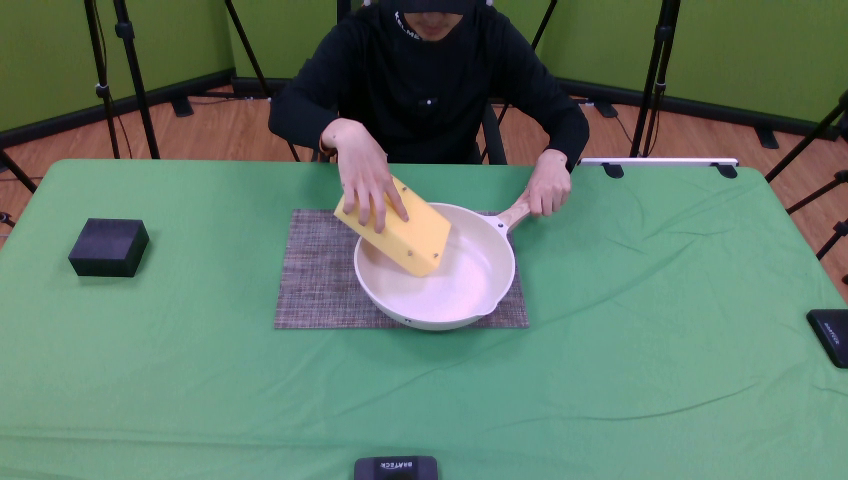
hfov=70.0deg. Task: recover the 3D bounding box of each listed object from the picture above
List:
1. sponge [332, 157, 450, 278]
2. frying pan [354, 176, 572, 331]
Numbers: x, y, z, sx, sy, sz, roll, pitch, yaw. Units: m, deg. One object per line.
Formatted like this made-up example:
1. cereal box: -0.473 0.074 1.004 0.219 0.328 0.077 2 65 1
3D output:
1. sponge: -0.055 -0.038 1.111 0.208 0.061 0.117 39 44 -23
2. frying pan: 0.102 -0.001 1.142 0.488 0.103 0.305 -31 56 -19
